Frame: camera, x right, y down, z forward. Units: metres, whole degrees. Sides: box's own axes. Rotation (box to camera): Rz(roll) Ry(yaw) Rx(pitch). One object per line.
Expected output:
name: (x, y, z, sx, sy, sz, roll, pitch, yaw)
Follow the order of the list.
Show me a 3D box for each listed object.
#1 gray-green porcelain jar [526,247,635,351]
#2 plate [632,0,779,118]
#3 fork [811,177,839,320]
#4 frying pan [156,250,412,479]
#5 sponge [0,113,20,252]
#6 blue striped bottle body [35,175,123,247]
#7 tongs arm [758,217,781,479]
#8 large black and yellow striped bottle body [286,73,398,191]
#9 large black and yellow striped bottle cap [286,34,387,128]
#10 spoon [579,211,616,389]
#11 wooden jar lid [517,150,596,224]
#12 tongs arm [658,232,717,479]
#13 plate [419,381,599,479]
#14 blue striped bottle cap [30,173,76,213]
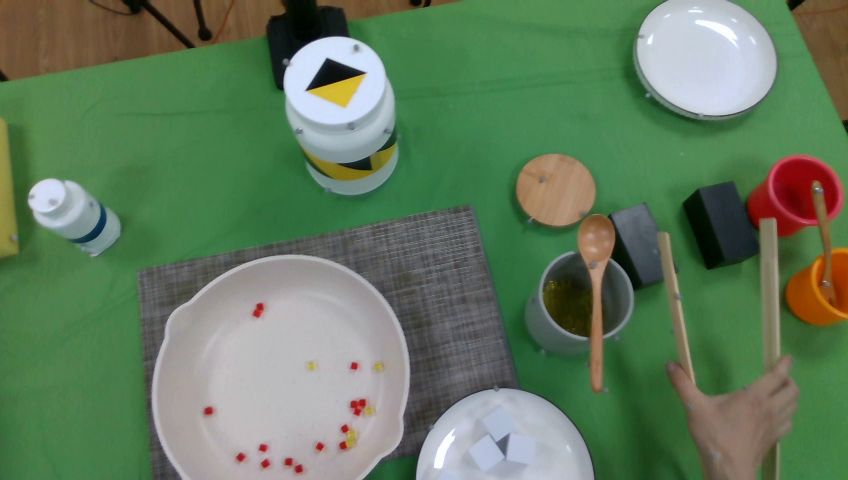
gray-green porcelain jar: (0.181, 0.076, 0.730, 0.106, 0.127, 0.105, 0, 72, -1)
plate: (0.407, -0.268, 0.889, 0.209, 0.038, 0.208, 0, 72, 0)
fork: (0.490, 0.014, 0.741, 0.028, 0.018, 0.209, -24, 118, 0)
frying pan: (-0.210, 0.240, 0.680, 0.306, 0.103, 0.486, 28, 66, 9)
sponge: (-0.621, -0.077, 0.801, 0.118, 0.061, 0.205, -16, 74, -6)
blue striped bottle body: (-0.435, -0.039, 0.760, 0.063, 0.121, 0.062, 0, 72, 0)
tongs arm: (0.391, 0.168, 0.695, 0.028, 0.027, 0.387, -1, 91, -13)
large black and yellow striped bottle body: (-0.100, -0.155, 0.770, 0.131, 0.185, 0.130, 0, 71, 0)
large black and yellow striped bottle cap: (-0.099, -0.182, 0.690, 0.115, 0.019, 0.114, 0, 74, -1)
spoon: (0.189, 0.063, 0.660, 0.041, 0.022, 0.193, 4, 76, 0)
wooden jar lid: (0.181, -0.071, 0.833, 0.108, 0.021, 0.108, 0, 74, -1)
tongs arm: (0.321, 0.177, 0.685, 0.051, 0.026, 0.385, -11, 93, -10)
plate: (0.098, 0.272, 0.710, 0.208, 0.039, 0.206, 0, 74, -1)
blue striped bottle cap: (-0.436, -0.056, 0.712, 0.044, 0.021, 0.044, 0, 74, -1)
